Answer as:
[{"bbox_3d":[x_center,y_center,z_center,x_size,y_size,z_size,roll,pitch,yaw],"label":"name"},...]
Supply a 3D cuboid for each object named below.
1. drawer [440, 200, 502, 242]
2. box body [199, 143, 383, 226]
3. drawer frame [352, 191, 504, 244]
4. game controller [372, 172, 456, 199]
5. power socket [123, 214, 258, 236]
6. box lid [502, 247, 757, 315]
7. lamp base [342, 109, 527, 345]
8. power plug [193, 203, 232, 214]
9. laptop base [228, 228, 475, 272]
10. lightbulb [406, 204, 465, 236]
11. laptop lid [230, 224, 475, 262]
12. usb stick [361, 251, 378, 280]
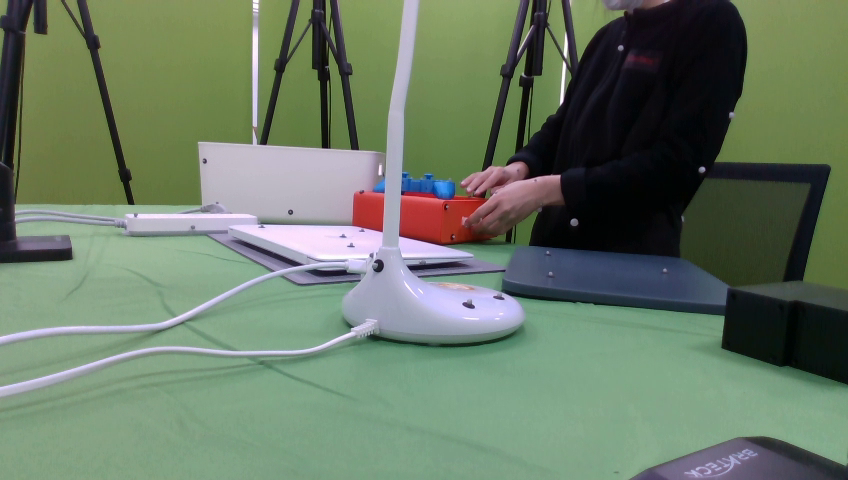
[{"bbox_3d":[0.010,-0.046,1.148,0.211,0.073,0.195,7,9,36],"label":"drawer"},{"bbox_3d":[-0.276,-0.124,1.334,0.364,0.160,0.254,3,7,1],"label":"box body"},{"bbox_3d":[0.009,-0.048,1.148,0.212,0.082,0.203,8,9,36],"label":"drawer frame"},{"bbox_3d":[-0.013,-0.101,1.156,0.155,0.051,0.097,6,3,13],"label":"game controller"},{"bbox_3d":[-0.398,-0.028,1.049,0.228,0.032,0.072,-3,8,-34],"label":"power socket"},{"bbox_3d":[0.244,0.044,0.793,0.263,0.015,0.372,4,7,11],"label":"box lid"},{"bbox_3d":[0.006,-0.015,0.505,0.160,0.180,0.180,6,11,29],"label":"lamp base"},{"bbox_3d":[-0.393,-0.042,1.139,0.072,0.052,0.035,-14,2,31],"label":"power plug"},{"bbox_3d":[-0.122,0.011,0.889,0.237,0.023,0.352,2,6,-35],"label":"laptop base"},{"bbox_3d":[0.020,-0.032,1.091,0.107,0.059,0.059,-9,7,5],"label":"lightbulb"},{"bbox_3d":[-0.120,0.000,0.889,0.243,0.013,0.355,1,7,-33],"label":"laptop lid"},{"bbox_3d":[-0.051,0.033,0.656,0.027,0.021,0.059,4,-27,-20],"label":"usb stick"}]
